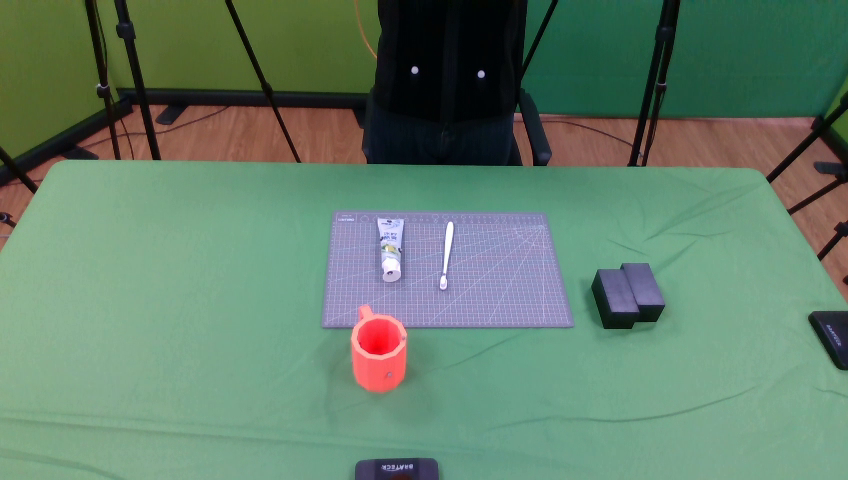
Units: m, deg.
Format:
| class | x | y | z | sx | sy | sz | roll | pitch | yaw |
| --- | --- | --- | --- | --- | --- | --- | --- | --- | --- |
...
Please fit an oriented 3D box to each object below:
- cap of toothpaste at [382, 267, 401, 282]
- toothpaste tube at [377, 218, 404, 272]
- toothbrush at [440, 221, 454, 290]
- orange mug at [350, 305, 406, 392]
| class | x | y | z | sx | sy | sz | roll | pitch | yaw |
| --- | --- | --- | --- | --- | --- | --- | --- | --- | --- |
| cap of toothpaste | -0.060 | 0.063 | 1.118 | 0.037 | 0.037 | 0.011 | -9 | 50 | -12 |
| toothpaste tube | -0.063 | 0.008 | 1.179 | 0.055 | 0.034 | 0.164 | 5 | 41 | -9 |
| toothbrush | 0.045 | 0.025 | 1.177 | 0.014 | 0.017 | 0.181 | -5 | 43 | 13 |
| orange mug | -0.080 | 0.168 | 0.978 | 0.083 | 0.101 | 0.125 | -16 | 54 | -18 |
